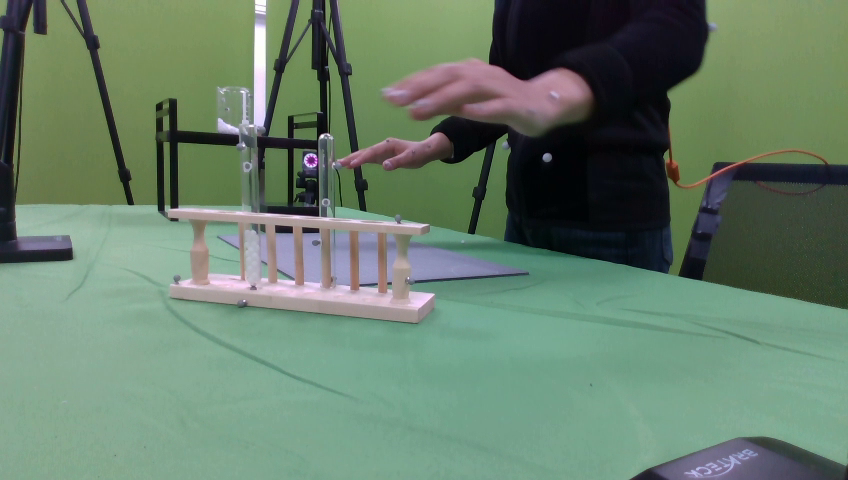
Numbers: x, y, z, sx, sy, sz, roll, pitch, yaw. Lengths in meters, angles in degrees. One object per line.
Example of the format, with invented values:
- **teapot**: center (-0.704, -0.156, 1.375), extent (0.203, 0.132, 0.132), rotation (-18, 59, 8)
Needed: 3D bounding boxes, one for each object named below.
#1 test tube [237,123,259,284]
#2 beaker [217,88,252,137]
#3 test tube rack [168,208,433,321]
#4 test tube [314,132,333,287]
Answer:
- **test tube**: center (-0.162, -0.032, 0.558), extent (0.017, 0.150, 0.017), rotation (2, 12, 0)
- **beaker**: center (-0.412, -0.276, 1.310), extent (0.074, 0.100, 0.084), rotation (4, 8, 16)
- **test tube rack**: center (-0.115, 0.017, 0.574), extent (0.242, 0.085, 0.067), rotation (4, 8, 13)
- **test tube**: center (-0.097, -0.028, 0.582), extent (0.017, 0.150, 0.017), rotation (0, 8, 0)
